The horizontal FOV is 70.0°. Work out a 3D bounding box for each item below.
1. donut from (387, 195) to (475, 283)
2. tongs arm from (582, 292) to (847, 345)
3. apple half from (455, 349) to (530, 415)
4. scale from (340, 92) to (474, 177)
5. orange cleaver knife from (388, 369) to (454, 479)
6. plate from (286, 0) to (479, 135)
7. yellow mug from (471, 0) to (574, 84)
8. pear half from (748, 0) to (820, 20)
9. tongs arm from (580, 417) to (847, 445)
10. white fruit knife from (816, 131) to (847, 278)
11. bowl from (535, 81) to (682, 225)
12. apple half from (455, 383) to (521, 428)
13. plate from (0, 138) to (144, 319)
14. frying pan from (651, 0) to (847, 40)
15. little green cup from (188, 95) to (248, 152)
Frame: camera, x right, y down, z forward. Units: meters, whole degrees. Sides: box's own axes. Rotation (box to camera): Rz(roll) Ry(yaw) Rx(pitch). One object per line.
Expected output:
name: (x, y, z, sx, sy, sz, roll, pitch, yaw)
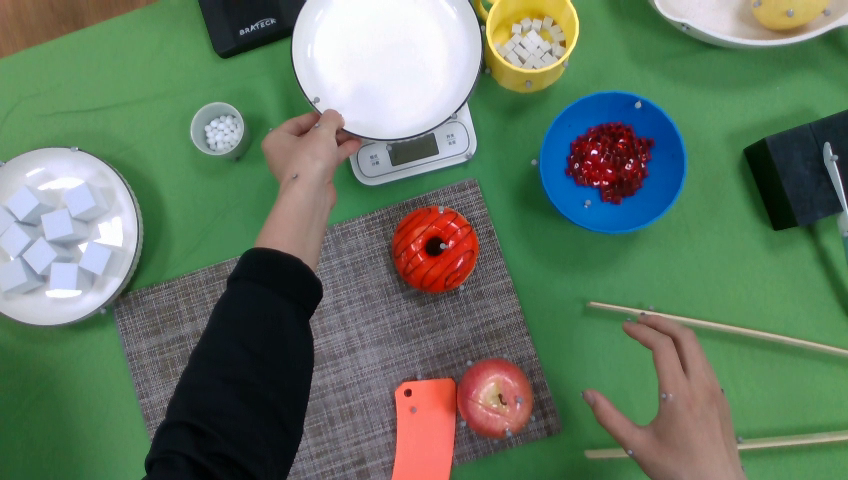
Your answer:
donut: (0.007, -0.001, 0.676, 0.099, 0.048, 0.099, 0, 87, 4)
tongs arm: (0.367, 0.101, 0.665, 0.387, 0.028, 0.028, 11, 79, 3)
apple half: (0.078, 0.145, 0.649, 0.080, 0.075, 0.053, 23, 84, 8)
scale: (-0.034, -0.184, 0.701, 0.148, 0.031, 0.200, -15, 86, 2)
orange cleaver knife: (-0.011, 0.245, 0.672, 0.077, 0.012, 0.211, 10, 84, -3)
plate: (-0.044, -0.213, 0.664, 0.209, 0.038, 0.208, 0, 82, 1)
yellow mug: (0.101, -0.244, 0.682, 0.130, 0.064, 0.100, 39, 89, 6)
pear half: (0.392, -0.272, 0.645, 0.076, 0.110, 0.056, 18, 87, 7)
tongs arm: (0.363, 0.187, 0.657, 0.385, 0.026, 0.050, -3, 82, 2)
white fruit knife: (0.446, -0.017, 0.645, 0.016, 0.027, 0.208, -21, 100, 2)
bowl: (0.192, -0.087, 0.661, 0.151, 0.077, 0.151, 0, 87, 2)
apple half: (0.063, 0.181, 0.645, 0.081, 0.081, 0.032, 25, 82, 4)
plate: (-0.422, -0.013, 0.702, 0.207, 0.039, 0.207, 0, 86, 2)
frying pan: (0.429, -0.286, 0.652, 0.307, 0.103, 0.485, -45, 77, 0)
little green cup: (-0.236, -0.132, 0.703, 0.061, 0.039, 0.061, 0, 85, 3)
